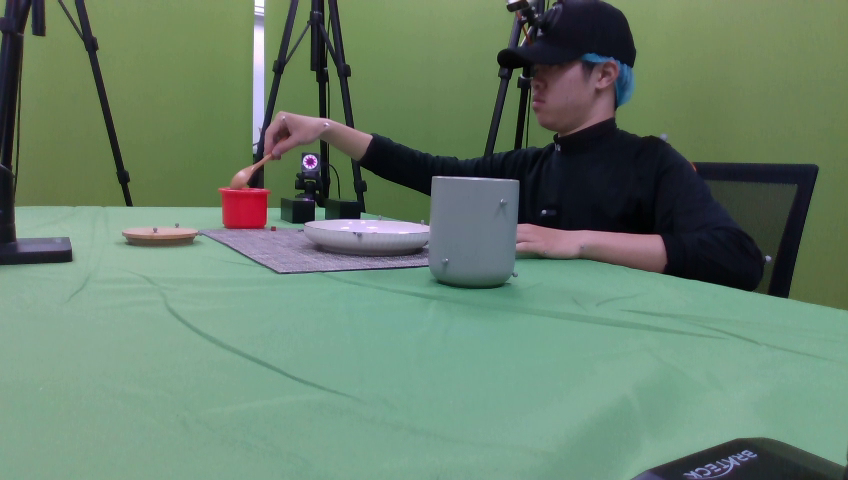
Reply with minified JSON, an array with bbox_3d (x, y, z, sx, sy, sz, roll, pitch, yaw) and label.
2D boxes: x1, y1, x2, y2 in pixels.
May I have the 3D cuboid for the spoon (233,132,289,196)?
[{"bbox_3d":[-0.322,-0.158,1.209,0.021,0.042,0.194,-22,32,39],"label":"spoon"}]

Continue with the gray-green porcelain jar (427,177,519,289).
[{"bbox_3d":[0.057,-0.010,0.722,0.106,0.126,0.106,2,7,0],"label":"gray-green porcelain jar"}]

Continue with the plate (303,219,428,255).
[{"bbox_3d":[-0.085,-0.005,0.952,0.208,0.039,0.207,3,7,0],"label":"plate"}]

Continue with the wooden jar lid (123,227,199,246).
[{"bbox_3d":[-0.408,-0.006,0.942,0.108,0.020,0.108,3,6,0],"label":"wooden jar lid"}]
